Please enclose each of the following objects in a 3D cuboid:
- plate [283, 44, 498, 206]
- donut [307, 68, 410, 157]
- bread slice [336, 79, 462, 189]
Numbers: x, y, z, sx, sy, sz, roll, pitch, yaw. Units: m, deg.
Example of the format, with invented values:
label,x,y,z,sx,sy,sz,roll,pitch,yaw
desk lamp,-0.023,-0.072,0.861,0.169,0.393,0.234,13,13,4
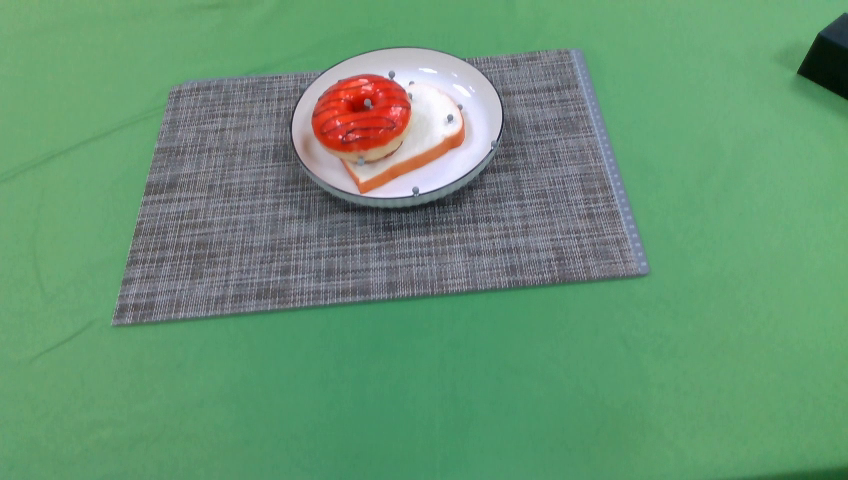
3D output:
label,x,y,z,sx,sy,sz,roll,pitch,yaw
plate,-0.032,-0.112,0.598,0.207,0.039,0.205,-1,56,2
donut,-0.062,-0.121,0.572,0.099,0.049,0.098,-3,57,5
bread slice,-0.031,-0.115,0.602,0.131,0.019,0.104,-28,59,-13
